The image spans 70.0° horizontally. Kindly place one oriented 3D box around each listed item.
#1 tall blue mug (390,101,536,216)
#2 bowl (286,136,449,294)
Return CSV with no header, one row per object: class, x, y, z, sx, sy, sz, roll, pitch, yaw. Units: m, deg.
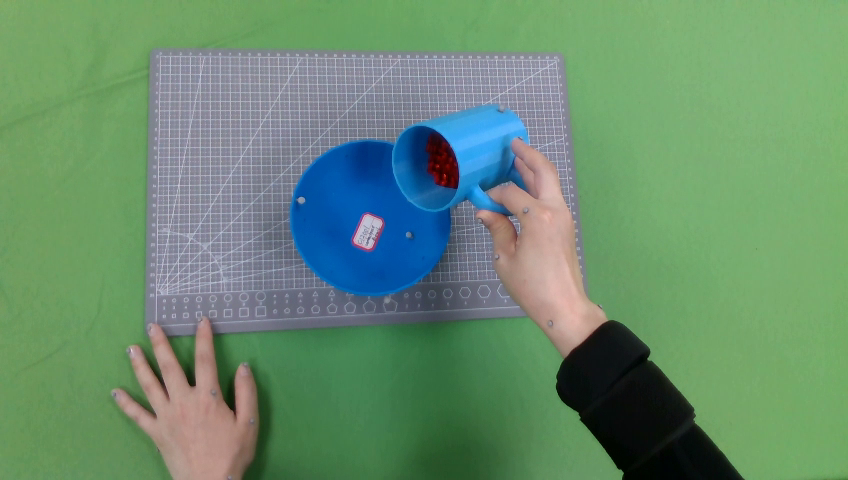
tall blue mug,0.045,-0.073,0.532,0.108,0.106,0.078,-27,127,-45
bowl,-0.055,-0.017,0.595,0.152,0.077,0.151,2,80,-8
